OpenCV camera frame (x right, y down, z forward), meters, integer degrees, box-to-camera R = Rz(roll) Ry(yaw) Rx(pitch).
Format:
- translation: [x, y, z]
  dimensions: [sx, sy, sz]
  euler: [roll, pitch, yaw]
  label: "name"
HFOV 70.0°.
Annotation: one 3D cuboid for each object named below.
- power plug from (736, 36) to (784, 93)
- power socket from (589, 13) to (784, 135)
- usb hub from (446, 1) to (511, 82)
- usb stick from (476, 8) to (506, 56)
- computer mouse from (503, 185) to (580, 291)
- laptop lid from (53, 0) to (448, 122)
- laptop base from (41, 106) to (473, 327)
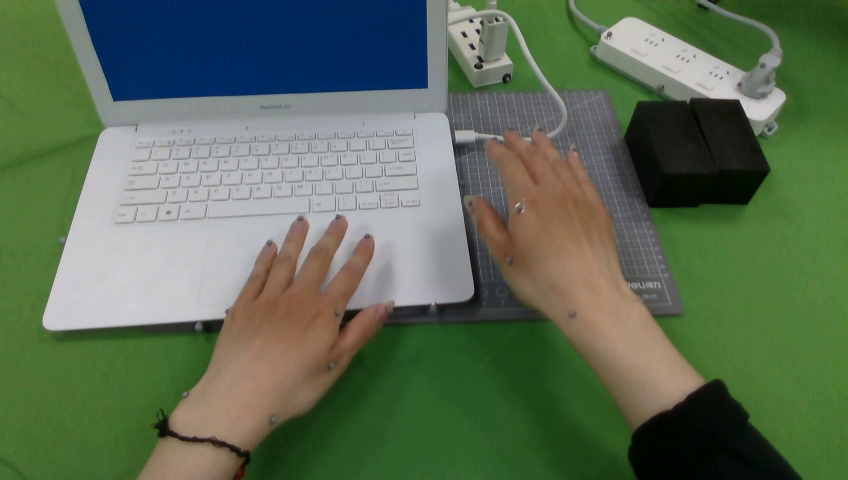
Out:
- translation: [0.369, -0.181, 0.654]
  dimensions: [0.072, 0.053, 0.035]
  euler: [-30, 58, -20]
  label: "power plug"
- translation: [0.296, -0.193, 0.690]
  dimensions: [0.225, 0.033, 0.072]
  euler: [39, 60, 24]
  label: "power socket"
- translation: [0.055, -0.238, 0.720]
  dimensions: [0.049, 0.025, 0.124]
  euler: [-15, 55, -13]
  label: "usb hub"
- translation: [0.074, -0.225, 0.674]
  dimensions: [0.027, 0.060, 0.021]
  euler: [-21, 55, -13]
  label: "usb stick"
- translation: [0.106, -0.008, 0.539]
  dimensions: [0.063, 0.041, 0.116]
  euler: [8, 49, 7]
  label: "computer mouse"
- translation: [-0.154, -0.217, 0.556]
  dimensions: [0.357, 0.244, 0.013]
  euler: [-5, 40, -3]
  label: "laptop lid"
- translation: [-0.143, -0.032, 0.564]
  dimensions: [0.355, 0.023, 0.233]
  euler: [-4, 57, -4]
  label: "laptop base"
